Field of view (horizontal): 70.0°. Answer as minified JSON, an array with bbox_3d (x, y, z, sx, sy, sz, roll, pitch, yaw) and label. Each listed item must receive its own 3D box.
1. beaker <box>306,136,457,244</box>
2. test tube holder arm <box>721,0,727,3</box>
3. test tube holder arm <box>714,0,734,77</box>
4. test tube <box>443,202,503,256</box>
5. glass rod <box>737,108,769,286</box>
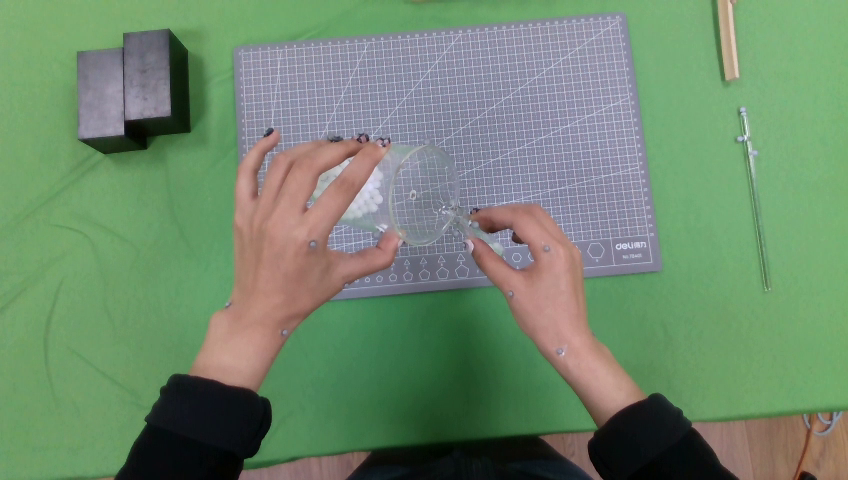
[{"bbox_3d":[-0.034,-0.042,0.468,0.099,0.085,0.074,15,83,40],"label":"beaker"},{"bbox_3d":[0.343,-0.316,0.694,0.010,0.015,0.087,6,81,-28],"label":"test tube holder arm"},{"bbox_3d":[0.337,-0.272,0.685,0.013,0.015,0.178,5,81,-28],"label":"test tube holder arm"},{"bbox_3d":[0.047,-0.006,0.537,0.017,0.151,0.017,-4,76,20],"label":"test tube"},{"bbox_3d":[0.357,-0.049,0.660,0.008,0.008,0.199,-4,82,0],"label":"glass rod"}]
